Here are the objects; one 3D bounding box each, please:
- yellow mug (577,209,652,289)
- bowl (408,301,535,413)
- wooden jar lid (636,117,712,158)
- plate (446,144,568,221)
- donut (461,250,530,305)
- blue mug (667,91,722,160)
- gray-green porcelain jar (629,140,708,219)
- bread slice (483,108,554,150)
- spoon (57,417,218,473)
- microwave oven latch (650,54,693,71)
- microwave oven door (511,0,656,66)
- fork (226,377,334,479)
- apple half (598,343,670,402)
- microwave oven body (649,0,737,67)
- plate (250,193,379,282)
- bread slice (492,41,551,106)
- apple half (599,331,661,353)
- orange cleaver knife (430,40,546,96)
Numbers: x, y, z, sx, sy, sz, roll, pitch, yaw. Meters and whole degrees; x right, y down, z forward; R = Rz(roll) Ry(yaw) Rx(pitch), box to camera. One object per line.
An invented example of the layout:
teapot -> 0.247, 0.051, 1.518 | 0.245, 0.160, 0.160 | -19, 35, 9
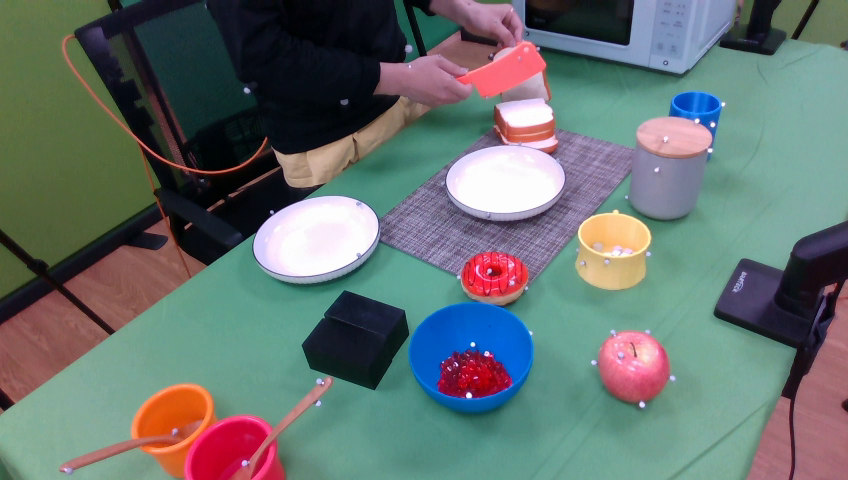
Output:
yellow mug -> 0.279, 0.004, 0.893 | 0.099, 0.064, 0.130 | 5, 41, 15
bowl -> 0.060, 0.156, 0.739 | 0.151, 0.077, 0.150 | -4, 40, 4
wooden jar lid -> 0.377, -0.151, 0.917 | 0.108, 0.021, 0.108 | -2, 41, 3
plate -> 0.142, -0.096, 1.045 | 0.207, 0.039, 0.206 | -4, 40, 4
donut -> 0.103, 0.053, 0.872 | 0.099, 0.048, 0.098 | -5, 40, 4
blue mug -> 0.474, -0.207, 1.079 | 0.082, 0.106, 0.116 | 4, 42, 13
gray-green porcelain jar -> 0.383, -0.105, 0.958 | 0.106, 0.127, 0.105 | -4, 41, 4
bread slice -> 0.186, -0.203, 1.161 | 0.105, 0.019, 0.130 | -21, 43, -7
spoon -> -0.304, 0.221, 0.661 | 0.041, 0.195, 0.021 | 19, 92, 27
microwave oven latch -> 0.531, -0.386, 1.301 | 0.078, 0.029, 0.030 | 26, 51, 33
microwave oven door -> 0.351, -0.540, 1.349 | 0.353, 0.245, 0.039 | 24, 50, 31
fork -> -0.163, 0.216, 0.647 | 0.207, 0.019, 0.028 | -49, 41, 16
apple half -> 0.247, 0.161, 0.710 | 0.081, 0.075, 0.053 | 2, 47, 5
microwave oven body -> 0.475, -0.602, 1.411 | 0.438, 0.261, 0.327 | 23, 50, 32
plate -> -0.174, -0.001, 0.984 | 0.209, 0.038, 0.208 | -4, 40, 4
bread slice -> 0.196, -0.337, 1.230 | 0.106, 0.135, 0.018 | -2, 43, 22
apple half -> 0.249, 0.134, 0.738 | 0.081, 0.081, 0.032 | -2, 46, 7
orange cleaver knife -> 0.117, -0.300, 1.109 | 0.211, 0.078, 0.012 | -19, 44, 13
